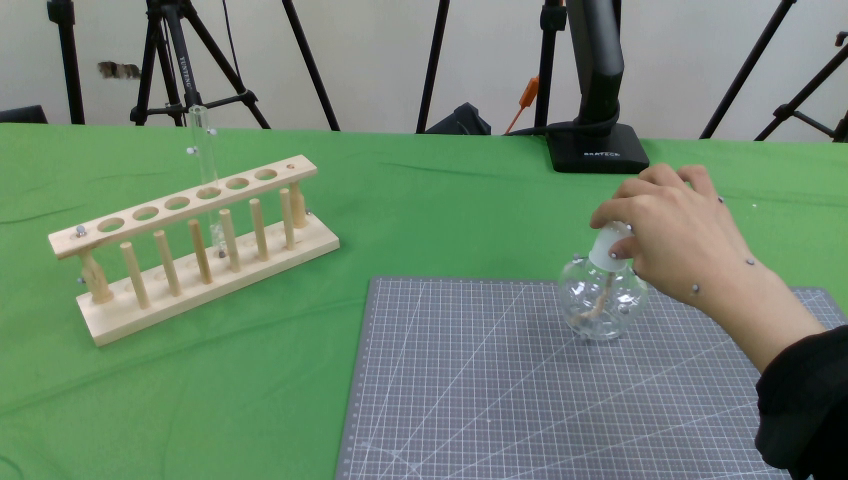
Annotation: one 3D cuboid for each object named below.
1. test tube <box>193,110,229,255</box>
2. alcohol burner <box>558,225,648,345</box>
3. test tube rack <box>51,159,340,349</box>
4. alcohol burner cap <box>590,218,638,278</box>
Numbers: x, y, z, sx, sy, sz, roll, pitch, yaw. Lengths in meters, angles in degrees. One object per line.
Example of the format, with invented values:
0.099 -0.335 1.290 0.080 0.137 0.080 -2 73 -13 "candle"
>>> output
-0.201 -0.050 0.575 0.017 0.151 0.017 3 32 -1 "test tube"
0.158 0.033 0.524 0.078 0.120 0.077 1 39 -1 "alcohol burner"
-0.206 0.005 0.585 0.243 0.086 0.066 -23 43 -29 "test tube rack"
0.160 0.004 0.503 0.034 0.048 0.033 7 34 -4 "alcohol burner cap"
